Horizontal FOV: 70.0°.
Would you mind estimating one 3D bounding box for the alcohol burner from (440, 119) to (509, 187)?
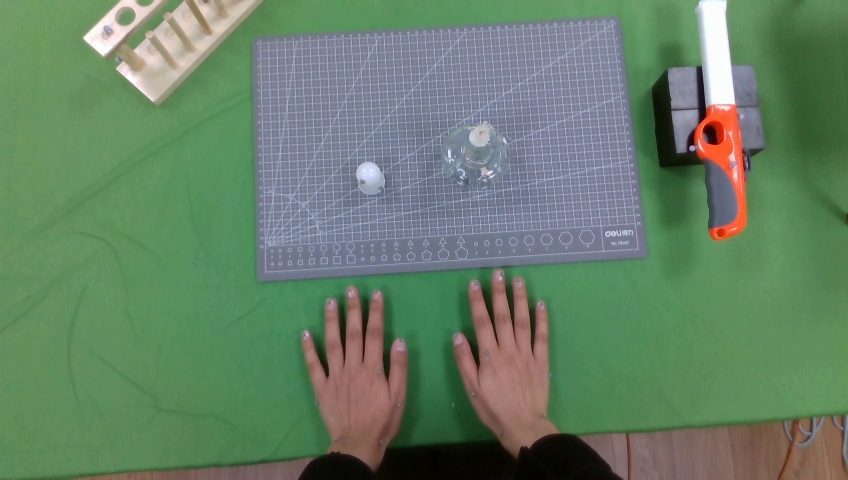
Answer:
[{"bbox_3d":[0.056,-0.100,0.660,0.078,0.119,0.077,0,79,-1],"label":"alcohol burner"}]

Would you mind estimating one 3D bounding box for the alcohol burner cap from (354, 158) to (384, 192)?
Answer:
[{"bbox_3d":[-0.063,-0.076,0.692,0.034,0.048,0.033,0,80,2],"label":"alcohol burner cap"}]

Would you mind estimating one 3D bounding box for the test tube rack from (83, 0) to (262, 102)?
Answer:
[{"bbox_3d":[-0.263,-0.282,0.703,0.066,0.085,0.242,41,83,7],"label":"test tube rack"}]

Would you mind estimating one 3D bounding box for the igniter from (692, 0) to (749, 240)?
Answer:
[{"bbox_3d":[0.323,-0.135,0.667,0.057,0.025,0.275,1,79,3],"label":"igniter"}]
